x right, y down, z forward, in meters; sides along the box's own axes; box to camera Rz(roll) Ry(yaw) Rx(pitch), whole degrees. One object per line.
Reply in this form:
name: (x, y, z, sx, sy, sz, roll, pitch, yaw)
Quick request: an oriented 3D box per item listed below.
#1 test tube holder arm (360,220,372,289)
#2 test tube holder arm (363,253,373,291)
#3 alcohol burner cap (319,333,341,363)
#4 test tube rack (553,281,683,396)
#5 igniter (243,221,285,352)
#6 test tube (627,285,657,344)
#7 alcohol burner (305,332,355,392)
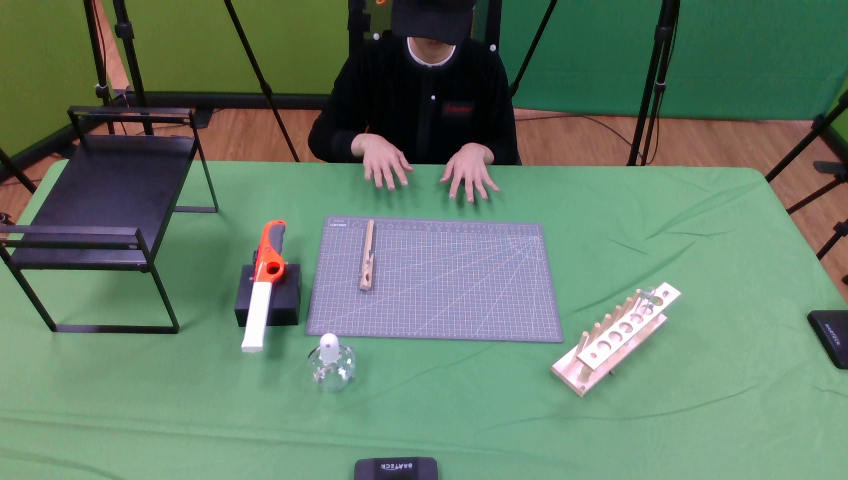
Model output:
test tube holder arm: (-0.110, 0.024, 1.161, 0.013, 0.015, 0.177, 28, 38, -27)
test tube holder arm: (-0.104, 0.058, 1.132, 0.010, 0.015, 0.087, 28, 38, -26)
alcohol burner cap: (-0.144, 0.161, 0.921, 0.034, 0.048, 0.033, 2, 46, -2)
test tube rack: (0.329, 0.153, 1.023, 0.242, 0.085, 0.066, -30, 54, -28)
igniter: (-0.273, 0.068, 1.041, 0.057, 0.025, 0.274, 2, 48, -6)
test tube: (0.350, 0.124, 0.983, 0.017, 0.151, 0.017, 0, 49, 0)
alcohol burner: (-0.147, 0.183, 0.943, 0.078, 0.119, 0.077, 2, 44, -2)
